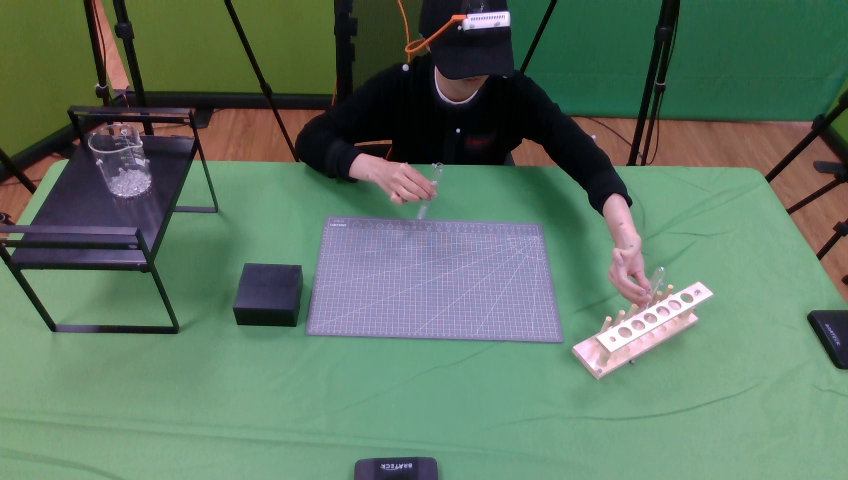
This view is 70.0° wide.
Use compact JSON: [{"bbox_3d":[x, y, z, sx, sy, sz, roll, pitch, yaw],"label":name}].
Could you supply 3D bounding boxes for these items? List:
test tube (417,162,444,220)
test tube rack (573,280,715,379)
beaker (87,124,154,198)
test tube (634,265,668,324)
[{"bbox_3d":[0.011,-0.090,1.151,0.017,0.151,0.017,10,48,-11],"label":"test tube"},{"bbox_3d":[0.378,0.140,1.038,0.242,0.085,0.066,-22,51,-23],"label":"test tube rack"},{"bbox_3d":[-0.482,-0.124,0.978,0.084,0.101,0.073,9,46,4],"label":"beaker"},{"bbox_3d":[0.380,0.093,1.022,0.017,0.151,0.017,2,48,-2],"label":"test tube"}]
